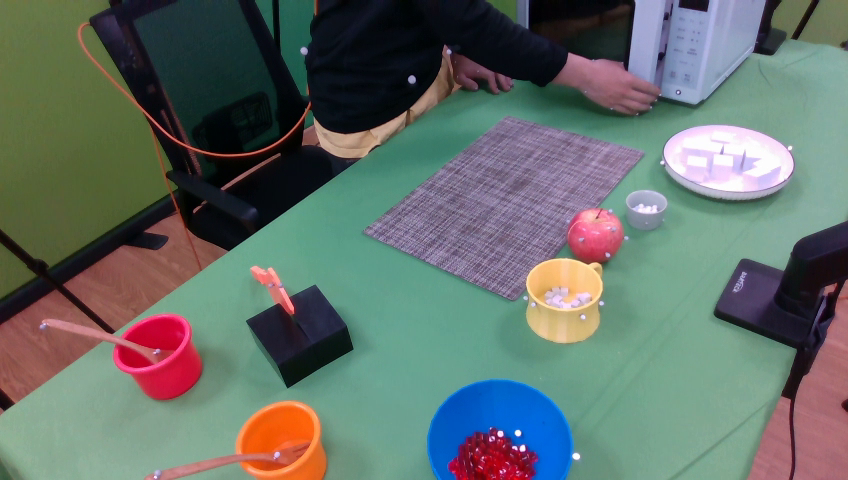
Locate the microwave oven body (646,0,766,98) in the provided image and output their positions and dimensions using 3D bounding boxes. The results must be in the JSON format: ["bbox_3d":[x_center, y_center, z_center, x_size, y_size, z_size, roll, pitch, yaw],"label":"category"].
[{"bbox_3d":[0.472,-0.513,1.317,0.438,0.261,0.327,26,51,34],"label":"microwave oven body"}]

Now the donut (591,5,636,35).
[{"bbox_3d":[0.427,-0.499,1.366,0.099,0.048,0.098,-4,38,4],"label":"donut"}]

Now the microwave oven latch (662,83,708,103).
[{"bbox_3d":[0.518,-0.296,1.204,0.078,0.029,0.030,28,52,36],"label":"microwave oven latch"}]

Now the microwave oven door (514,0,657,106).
[{"bbox_3d":[0.325,-0.442,1.247,0.039,0.245,0.352,-33,46,-26],"label":"microwave oven door"}]

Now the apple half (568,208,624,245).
[{"bbox_3d":[0.259,-0.014,0.914,0.080,0.075,0.053,0,36,15],"label":"apple half"}]

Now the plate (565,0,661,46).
[{"bbox_3d":[0.427,-0.491,1.375,0.209,0.038,0.208,-5,41,5],"label":"plate"}]

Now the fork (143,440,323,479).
[{"bbox_3d":[-0.190,0.231,0.631,0.028,0.018,0.209,38,14,37],"label":"fork"}]

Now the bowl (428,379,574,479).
[{"bbox_3d":[0.082,0.233,0.644,0.151,0.077,0.150,-4,40,4],"label":"bowl"}]

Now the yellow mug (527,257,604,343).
[{"bbox_3d":[0.201,0.072,0.825,0.131,0.064,0.099,-32,46,-27],"label":"yellow mug"}]

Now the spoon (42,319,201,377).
[{"bbox_3d":[-0.385,0.135,0.779,0.195,0.021,0.041,29,36,-26],"label":"spoon"}]

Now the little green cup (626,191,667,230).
[{"bbox_3d":[0.352,-0.046,0.963,0.061,0.039,0.061,-4,40,4],"label":"little green cup"}]

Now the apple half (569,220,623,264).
[{"bbox_3d":[0.251,0.010,0.884,0.081,0.081,0.032,3,37,12],"label":"apple half"}]

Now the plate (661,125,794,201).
[{"bbox_3d":[0.513,-0.128,1.035,0.207,0.039,0.206,-4,40,4],"label":"plate"}]

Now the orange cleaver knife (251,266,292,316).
[{"bbox_3d":[-0.221,0.071,0.873,0.012,0.077,0.210,-25,11,-21],"label":"orange cleaver knife"}]
